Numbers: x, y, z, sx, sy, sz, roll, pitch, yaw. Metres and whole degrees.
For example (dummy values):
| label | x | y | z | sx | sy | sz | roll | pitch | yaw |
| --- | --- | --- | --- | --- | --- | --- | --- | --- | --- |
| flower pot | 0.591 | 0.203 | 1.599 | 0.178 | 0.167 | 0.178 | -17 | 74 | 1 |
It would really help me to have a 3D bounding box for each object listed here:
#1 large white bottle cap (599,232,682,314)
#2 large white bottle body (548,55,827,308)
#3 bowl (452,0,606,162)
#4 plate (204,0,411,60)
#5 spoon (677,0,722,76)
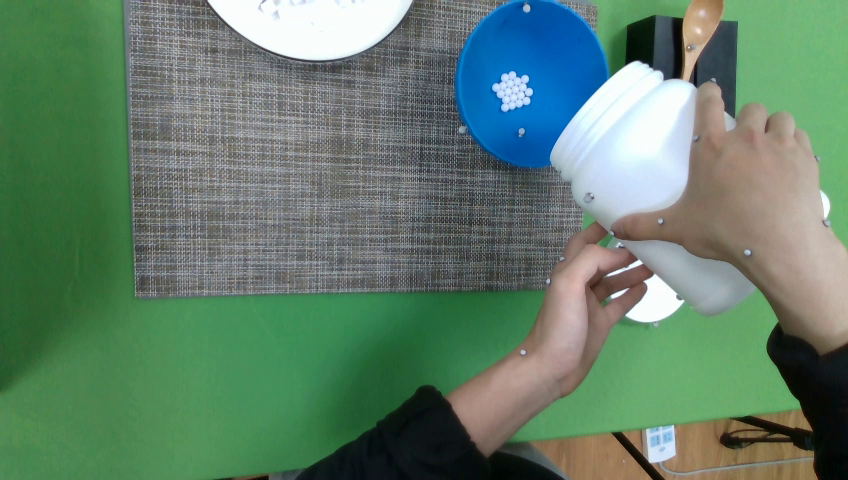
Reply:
| label | x | y | z | sx | sy | sz | roll | pitch | yaw |
| --- | --- | --- | --- | --- | --- | --- | --- | --- | --- |
| large white bottle cap | 0.255 | 0.029 | 0.692 | 0.115 | 0.018 | 0.115 | -2 | 99 | -16 |
| large white bottle body | 0.204 | -0.050 | 0.495 | 0.130 | 0.131 | 0.183 | -43 | 76 | -7 |
| bowl | 0.090 | -0.151 | 0.584 | 0.152 | 0.076 | 0.151 | -2 | 98 | -15 |
| plate | -0.105 | -0.262 | 0.535 | 0.210 | 0.038 | 0.209 | -1 | 95 | -16 |
| spoon | 0.258 | -0.161 | 0.618 | 0.042 | 0.021 | 0.194 | 12 | 100 | -20 |
